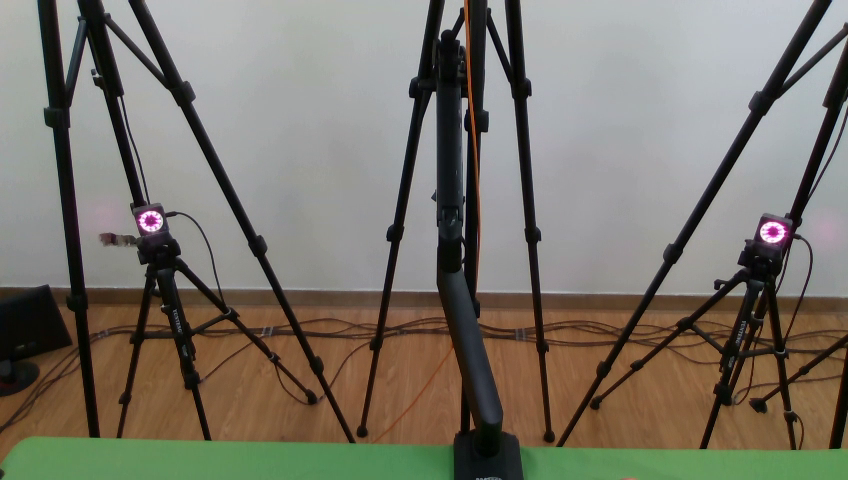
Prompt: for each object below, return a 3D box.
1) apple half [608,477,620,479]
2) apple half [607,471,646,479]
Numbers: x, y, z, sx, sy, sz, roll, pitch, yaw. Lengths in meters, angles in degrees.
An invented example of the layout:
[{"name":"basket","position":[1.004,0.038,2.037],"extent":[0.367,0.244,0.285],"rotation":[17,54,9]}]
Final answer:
[{"name":"apple half","position":[0.309,0.426,0.967],"extent":[0.033,0.082,0.080],"rotation":[-15,36,-29]},{"name":"apple half","position":[0.342,0.416,0.986],"extent":[0.053,0.075,0.080],"rotation":[-14,32,-29]}]
